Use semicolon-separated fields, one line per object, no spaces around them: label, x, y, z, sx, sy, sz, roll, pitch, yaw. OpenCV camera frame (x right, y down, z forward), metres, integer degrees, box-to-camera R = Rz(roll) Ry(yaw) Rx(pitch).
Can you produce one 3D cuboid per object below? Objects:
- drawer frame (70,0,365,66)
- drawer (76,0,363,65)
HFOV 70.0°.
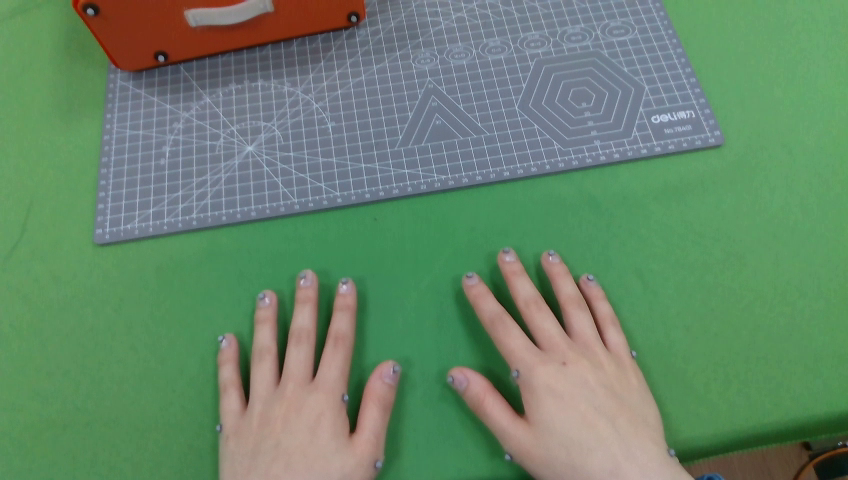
drawer frame;-0.169;-0.260;0.491;0.202;0.083;0.211;-14;64;-5
drawer;-0.167;-0.257;0.491;0.194;0.074;0.210;-14;64;-4
